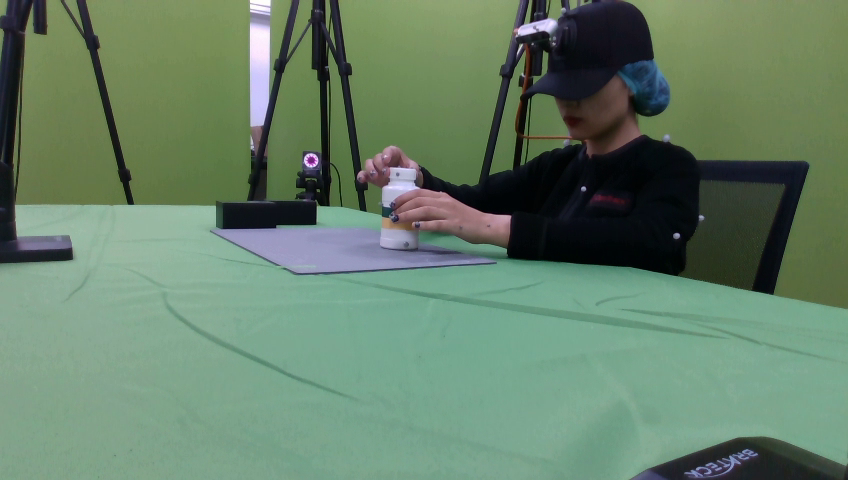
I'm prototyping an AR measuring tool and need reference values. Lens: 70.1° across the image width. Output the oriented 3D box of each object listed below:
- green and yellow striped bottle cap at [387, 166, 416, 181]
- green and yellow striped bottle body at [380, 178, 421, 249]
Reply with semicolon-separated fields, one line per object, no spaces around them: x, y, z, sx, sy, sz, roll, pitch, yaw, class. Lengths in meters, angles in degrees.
-0.035;-0.105;0.951;0.045;0.020;0.045;5;5;0;green and yellow striped bottle cap
-0.037;-0.048;0.959;0.063;0.119;0.063;3;7;0;green and yellow striped bottle body
